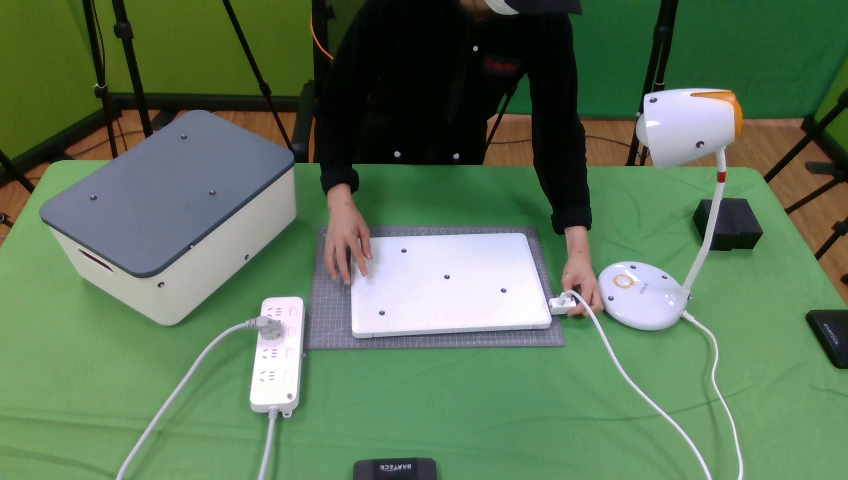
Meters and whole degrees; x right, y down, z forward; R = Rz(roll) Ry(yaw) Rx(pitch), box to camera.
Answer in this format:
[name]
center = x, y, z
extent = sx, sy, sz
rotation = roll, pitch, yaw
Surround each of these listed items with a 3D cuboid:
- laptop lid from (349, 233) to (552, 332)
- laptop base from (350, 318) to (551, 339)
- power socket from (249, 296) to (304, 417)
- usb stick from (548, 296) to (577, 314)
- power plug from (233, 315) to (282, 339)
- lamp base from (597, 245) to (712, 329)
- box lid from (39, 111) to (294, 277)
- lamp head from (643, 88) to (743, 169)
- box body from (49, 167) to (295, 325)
[laptop lid]
center = 0.040, 0.070, 1.119
extent = 0.357, 0.013, 0.240
rotation = -1, 44, -5
[laptop base]
center = 0.040, 0.080, 1.126
extent = 0.355, 0.023, 0.234
rotation = -2, 43, -6
[power socket]
center = -0.239, 0.182, 0.996
extent = 0.072, 0.033, 0.225
rotation = -2, 47, -5
[usb stick]
center = 0.242, 0.118, 1.088
extent = 0.059, 0.027, 0.021
rotation = -6, 52, -5
[power plug]
center = -0.271, 0.144, 1.000
extent = 0.072, 0.053, 0.035
rotation = 5, 46, 3
[lamp base]
center = 0.418, 0.051, 1.072
extent = 0.179, 0.181, 0.160
rotation = 22, 49, 13
[box lid]
center = -0.435, -0.097, 1.055
extent = 0.262, 0.015, 0.370
rotation = 25, 49, 18
[lamp head]
center = 0.379, -0.160, 0.851
extent = 0.122, 0.113, 0.112
rotation = -4, 42, 25
[box body]
center = -0.437, -0.046, 1.110
extent = 0.253, 0.161, 0.363
rotation = 24, 49, 18
